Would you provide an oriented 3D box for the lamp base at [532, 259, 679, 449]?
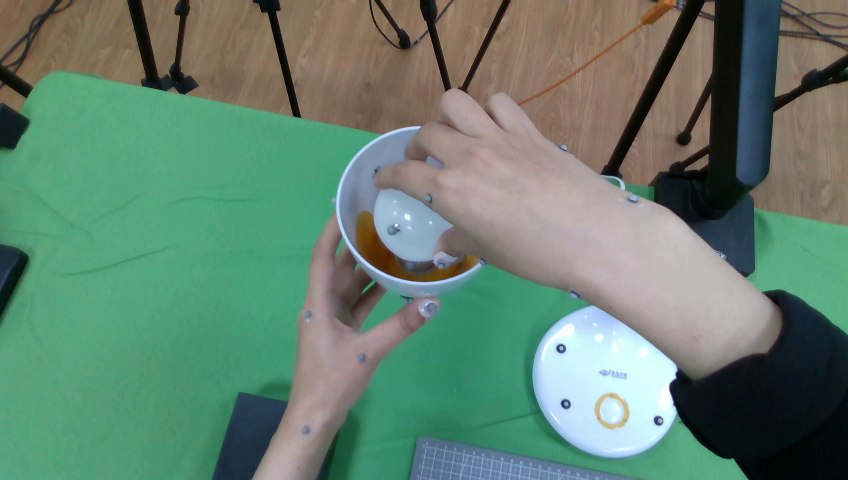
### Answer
[{"bbox_3d":[0.200,0.104,0.598,0.161,0.181,0.177,-2,65,-3],"label":"lamp base"}]

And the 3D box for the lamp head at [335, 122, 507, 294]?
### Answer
[{"bbox_3d":[0.002,-0.009,0.438,0.112,0.123,0.111,-1,71,4],"label":"lamp head"}]

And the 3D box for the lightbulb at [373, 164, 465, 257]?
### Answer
[{"bbox_3d":[-0.004,-0.013,0.414,0.059,0.108,0.059,1,77,-2],"label":"lightbulb"}]
